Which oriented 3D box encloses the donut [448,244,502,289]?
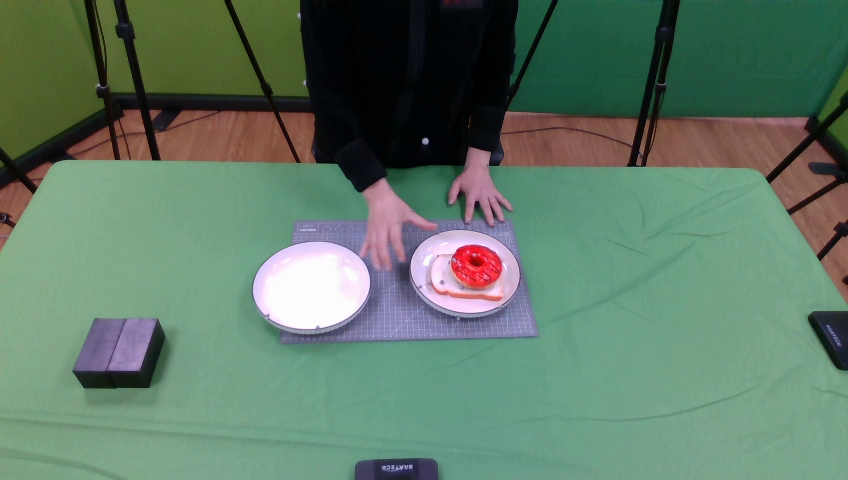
[{"bbox_3d":[0.092,0.049,1.105,0.099,0.048,0.098,3,45,-3],"label":"donut"}]

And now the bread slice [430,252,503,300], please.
[{"bbox_3d":[0.078,0.067,1.125,0.134,0.018,0.106,0,46,-3],"label":"bread slice"}]

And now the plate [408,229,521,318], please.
[{"bbox_3d":[0.074,0.063,1.128,0.209,0.038,0.208,2,46,-2],"label":"plate"}]

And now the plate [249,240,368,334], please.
[{"bbox_3d":[-0.204,0.086,1.084,0.208,0.039,0.206,2,46,-2],"label":"plate"}]
